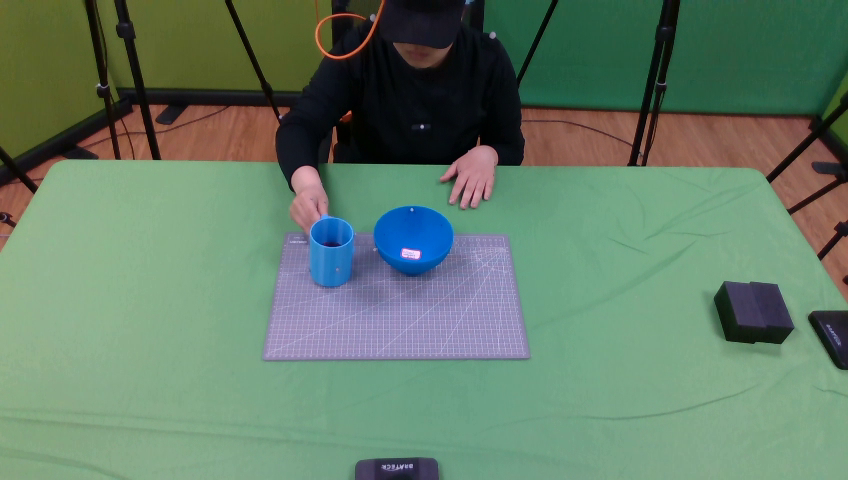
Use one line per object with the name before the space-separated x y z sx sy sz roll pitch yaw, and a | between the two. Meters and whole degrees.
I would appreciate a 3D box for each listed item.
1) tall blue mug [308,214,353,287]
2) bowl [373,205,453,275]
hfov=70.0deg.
tall blue mug | -0.181 0.013 1.102 0.078 0.108 0.106 -32 61 -34
bowl | -0.022 0.013 1.143 0.151 0.077 0.150 2 46 -2
